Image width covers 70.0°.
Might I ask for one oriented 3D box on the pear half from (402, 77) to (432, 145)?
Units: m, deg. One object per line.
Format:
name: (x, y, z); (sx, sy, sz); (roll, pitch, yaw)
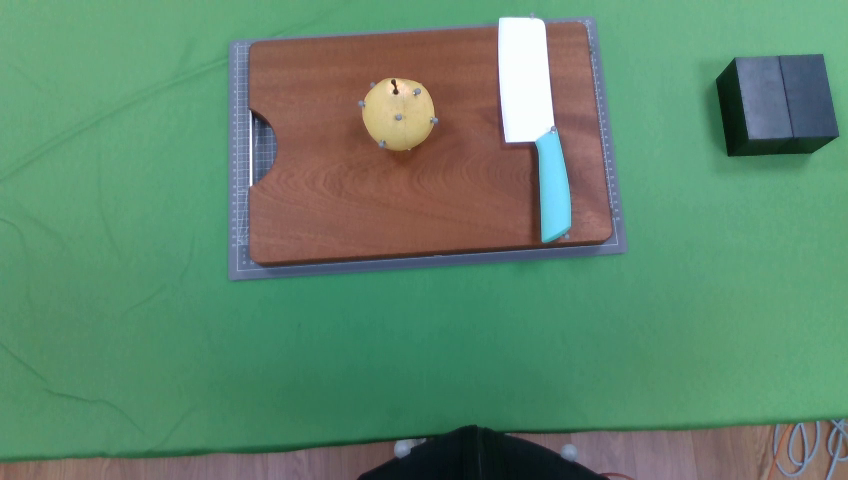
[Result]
pear half: (-0.006, -0.140, 0.648); (0.031, 0.088, 0.070); (0, 72, 0)

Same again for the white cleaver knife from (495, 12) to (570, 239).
white cleaver knife: (0.119, -0.136, 0.686); (0.066, 0.022, 0.284); (-5, 72, 5)

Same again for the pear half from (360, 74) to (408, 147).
pear half: (-0.041, -0.144, 0.639); (0.056, 0.110, 0.076); (-1, 72, 1)
